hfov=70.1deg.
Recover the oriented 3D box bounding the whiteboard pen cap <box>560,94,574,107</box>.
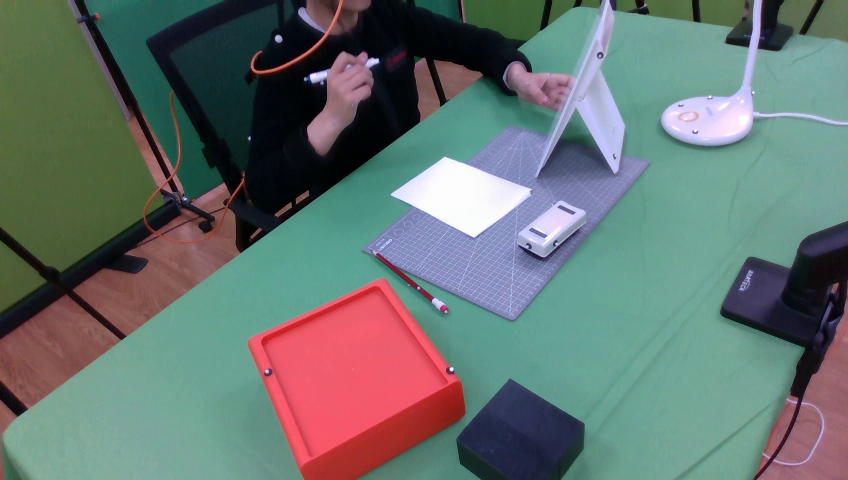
[{"bbox_3d":[0.301,-0.293,1.272,0.018,0.018,0.033,26,51,34],"label":"whiteboard pen cap"}]

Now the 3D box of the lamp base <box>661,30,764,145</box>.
[{"bbox_3d":[0.535,-0.287,1.095,0.179,0.181,0.159,-10,40,-4],"label":"lamp base"}]

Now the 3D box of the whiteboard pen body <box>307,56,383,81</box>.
[{"bbox_3d":[-0.140,-0.308,1.077,0.141,0.017,0.017,-14,40,6],"label":"whiteboard pen body"}]

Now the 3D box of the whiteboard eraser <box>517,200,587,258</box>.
[{"bbox_3d":[0.200,-0.016,0.943,0.113,0.042,0.055,-37,46,-29],"label":"whiteboard eraser"}]

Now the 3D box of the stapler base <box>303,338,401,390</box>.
[{"bbox_3d":[-0.096,0.160,0.813,0.131,0.024,0.041,-17,42,-18],"label":"stapler base"}]

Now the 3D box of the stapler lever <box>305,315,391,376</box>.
[{"bbox_3d":[-0.100,0.136,0.790,0.118,0.040,0.026,-23,44,-12],"label":"stapler lever"}]

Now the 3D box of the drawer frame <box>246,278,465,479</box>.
[{"bbox_3d":[-0.088,0.168,0.752,0.202,0.083,0.211,-24,43,-18],"label":"drawer frame"}]

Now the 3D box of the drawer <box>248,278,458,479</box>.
[{"bbox_3d":[-0.092,0.168,0.756,0.195,0.073,0.210,-24,43,-18],"label":"drawer"}]

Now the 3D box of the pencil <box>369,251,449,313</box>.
[{"bbox_3d":[-0.028,0.060,0.924,0.012,0.012,0.192,-33,46,-25],"label":"pencil"}]

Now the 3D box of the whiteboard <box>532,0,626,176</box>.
[{"bbox_3d":[0.321,-0.258,1.049,0.144,0.306,0.217,22,45,5],"label":"whiteboard"}]
